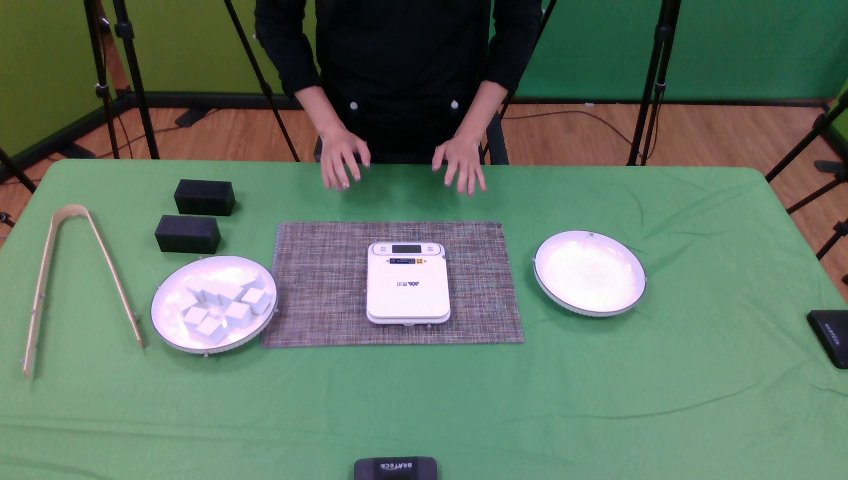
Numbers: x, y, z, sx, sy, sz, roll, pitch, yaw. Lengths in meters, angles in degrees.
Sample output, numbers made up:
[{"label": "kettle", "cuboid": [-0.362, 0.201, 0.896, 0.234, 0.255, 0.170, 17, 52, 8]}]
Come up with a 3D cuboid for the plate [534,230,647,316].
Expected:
[{"label": "plate", "cuboid": [0.310, 0.065, 1.145, 0.209, 0.038, 0.208, 2, 45, -2]}]

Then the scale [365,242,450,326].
[{"label": "scale", "cuboid": [-0.032, 0.071, 1.113, 0.149, 0.032, 0.199, 0, 46, -4]}]

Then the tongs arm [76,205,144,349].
[{"label": "tongs arm", "cuboid": [-0.570, 0.054, 1.098, 0.028, 0.028, 0.385, -25, 53, -23]}]

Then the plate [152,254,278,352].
[{"label": "plate", "cuboid": [-0.357, 0.111, 1.052, 0.208, 0.039, 0.206, 2, 46, -2]}]

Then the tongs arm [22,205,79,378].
[{"label": "tongs arm", "cuboid": [-0.652, 0.073, 1.067, 0.051, 0.026, 0.382, -10, 46, -15]}]
